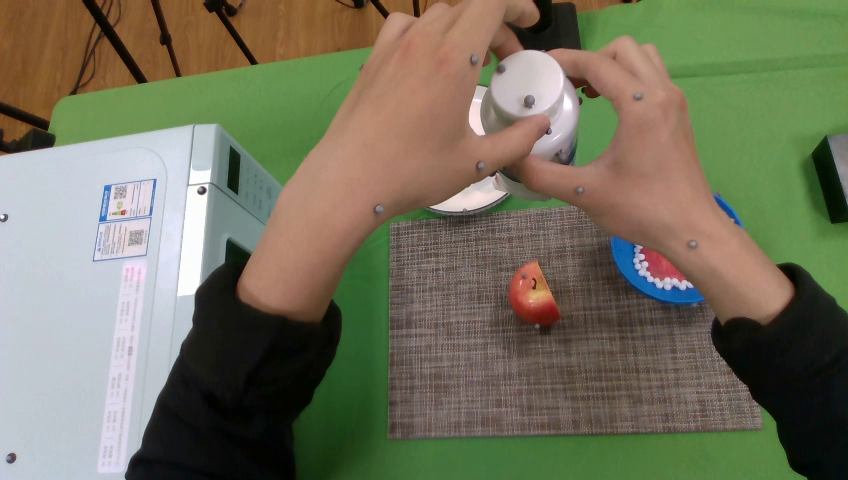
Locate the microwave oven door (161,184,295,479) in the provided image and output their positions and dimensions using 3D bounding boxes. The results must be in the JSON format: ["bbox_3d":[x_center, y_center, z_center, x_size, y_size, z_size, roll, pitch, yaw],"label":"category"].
[{"bbox_3d":[-0.218,0.143,0.713,0.039,0.246,0.353,-7,70,10],"label":"microwave oven door"}]

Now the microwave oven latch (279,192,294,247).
[{"bbox_3d":[-0.204,-0.029,0.879,0.030,0.030,0.078,-6,71,10],"label":"microwave oven latch"}]

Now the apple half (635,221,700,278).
[{"bbox_3d":[0.301,0.008,0.744,0.081,0.033,0.080,-4,69,11],"label":"apple half"}]

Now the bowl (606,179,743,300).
[{"bbox_3d":[0.301,0.009,0.749,0.151,0.077,0.150,-4,71,12],"label":"bowl"}]

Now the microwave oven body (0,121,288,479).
[{"bbox_3d":[-0.362,0.122,0.756,0.325,0.262,0.438,-6,71,10],"label":"microwave oven body"}]

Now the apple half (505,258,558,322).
[{"bbox_3d":[0.131,0.069,0.769,0.053,0.075,0.080,-25,72,7],"label":"apple half"}]

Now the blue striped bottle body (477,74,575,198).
[{"bbox_3d":[0.071,-0.077,0.415,0.063,0.121,0.062,-3,75,12],"label":"blue striped bottle body"}]

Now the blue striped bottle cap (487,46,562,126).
[{"bbox_3d":[0.060,-0.092,0.361,0.044,0.021,0.044,-2,79,11],"label":"blue striped bottle cap"}]

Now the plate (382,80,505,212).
[{"bbox_3d":[0.044,-0.133,0.881,0.207,0.039,0.206,-4,71,11],"label":"plate"}]
